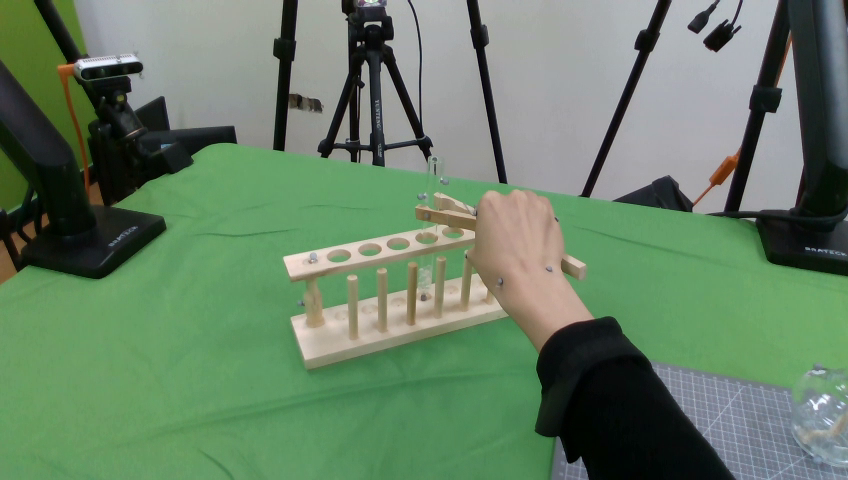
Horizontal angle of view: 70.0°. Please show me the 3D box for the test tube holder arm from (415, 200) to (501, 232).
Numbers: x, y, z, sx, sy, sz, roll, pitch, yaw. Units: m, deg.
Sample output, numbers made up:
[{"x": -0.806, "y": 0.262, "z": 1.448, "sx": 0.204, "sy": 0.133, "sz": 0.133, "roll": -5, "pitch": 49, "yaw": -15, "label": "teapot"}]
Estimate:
[{"x": 0.032, "y": -0.022, "z": 0.552, "sx": 0.087, "sy": 0.015, "sz": 0.010, "roll": 12, "pitch": 37, "yaw": 26, "label": "test tube holder arm"}]

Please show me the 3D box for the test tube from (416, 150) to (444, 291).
[{"x": 0.004, "y": -0.014, "z": 0.587, "sx": 0.017, "sy": 0.151, "sz": 0.017, "roll": 4, "pitch": 29, "yaw": -2, "label": "test tube"}]

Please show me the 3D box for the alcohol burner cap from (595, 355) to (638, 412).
[{"x": 0.166, "y": 0.119, "z": 0.515, "sx": 0.034, "sy": 0.048, "sz": 0.033, "roll": 1, "pitch": 34, "yaw": -1, "label": "alcohol burner cap"}]

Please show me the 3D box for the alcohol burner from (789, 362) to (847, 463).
[{"x": 0.329, "y": 0.114, "z": 0.463, "sx": 0.078, "sy": 0.120, "sz": 0.077, "roll": 2, "pitch": 35, "yaw": -1, "label": "alcohol burner"}]

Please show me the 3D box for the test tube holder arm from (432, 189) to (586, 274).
[{"x": 0.068, "y": -0.012, "z": 0.530, "sx": 0.013, "sy": 0.015, "sz": 0.176, "roll": -30, "pitch": 40, "yaw": -31, "label": "test tube holder arm"}]

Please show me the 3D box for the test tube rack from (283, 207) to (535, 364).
[{"x": -0.007, "y": 0.040, "z": 0.595, "sx": 0.243, "sy": 0.086, "sz": 0.066, "roll": -12, "pitch": 36, "yaw": -19, "label": "test tube rack"}]
